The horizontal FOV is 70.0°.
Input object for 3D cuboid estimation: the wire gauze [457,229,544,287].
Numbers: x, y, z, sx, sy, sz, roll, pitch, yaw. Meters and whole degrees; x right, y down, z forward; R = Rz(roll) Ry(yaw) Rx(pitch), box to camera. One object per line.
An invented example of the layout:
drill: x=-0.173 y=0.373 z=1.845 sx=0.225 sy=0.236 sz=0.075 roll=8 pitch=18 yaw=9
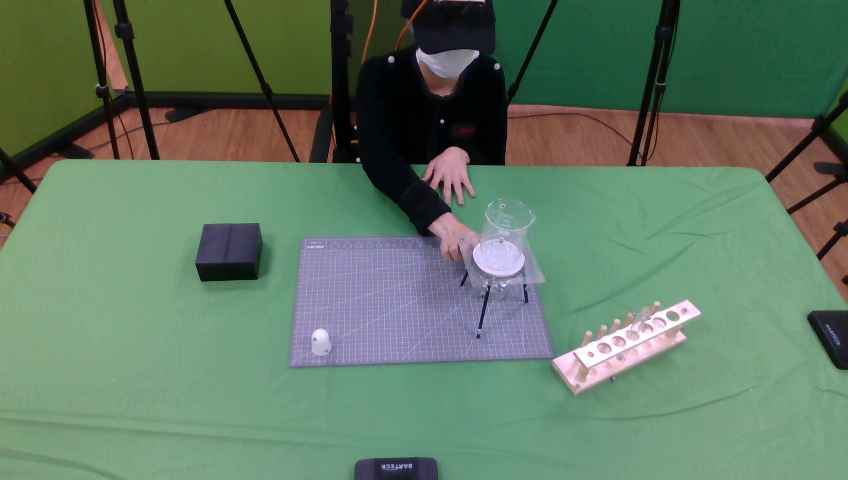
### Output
wire gauze: x=0.125 y=0.030 z=1.008 sx=0.125 sy=0.011 sz=0.120 roll=-2 pitch=48 yaw=-11

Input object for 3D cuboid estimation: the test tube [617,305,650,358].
test tube: x=0.333 y=0.149 z=0.967 sx=0.017 sy=0.151 sz=0.017 roll=0 pitch=52 yaw=1

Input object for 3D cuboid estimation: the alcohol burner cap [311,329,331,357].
alcohol burner cap: x=-0.173 y=0.168 z=1.005 sx=0.034 sy=0.048 sz=0.033 roll=2 pitch=46 yaw=-2

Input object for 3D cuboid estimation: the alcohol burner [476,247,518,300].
alcohol burner: x=0.133 y=0.053 z=1.090 sx=0.078 sy=0.119 sz=0.077 roll=2 pitch=48 yaw=-2

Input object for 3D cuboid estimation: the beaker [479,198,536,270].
beaker: x=0.131 y=-0.007 z=0.975 sx=0.084 sy=0.101 sz=0.073 roll=2 pitch=46 yaw=-3

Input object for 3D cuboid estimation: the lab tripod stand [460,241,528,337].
lab tripod stand: x=0.122 y=0.075 z=1.054 sx=0.148 sy=0.132 sz=0.147 roll=3 pitch=44 yaw=-2

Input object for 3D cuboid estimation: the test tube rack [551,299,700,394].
test tube rack: x=0.339 y=0.166 z=1.021 sx=0.242 sy=0.085 sz=0.066 roll=-19 pitch=50 yaw=-21
